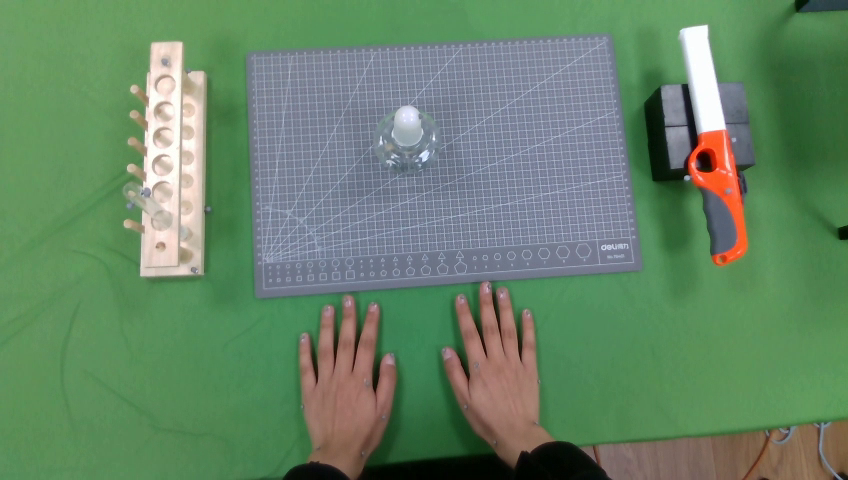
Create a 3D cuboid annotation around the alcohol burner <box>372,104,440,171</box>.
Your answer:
[{"bbox_3d":[-0.020,-0.118,0.666,0.078,0.119,0.077,0,82,-2],"label":"alcohol burner"}]

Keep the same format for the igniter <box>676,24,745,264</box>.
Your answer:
[{"bbox_3d":[0.321,-0.110,0.681,0.057,0.025,0.275,-6,81,8],"label":"igniter"}]

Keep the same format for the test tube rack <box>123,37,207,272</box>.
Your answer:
[{"bbox_3d":[-0.287,-0.090,0.666,0.067,0.085,0.241,-2,81,-3],"label":"test tube rack"}]

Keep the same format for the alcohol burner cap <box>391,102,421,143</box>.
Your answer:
[{"bbox_3d":[-0.018,-0.126,0.631,0.034,0.048,0.033,1,74,-3],"label":"alcohol burner cap"}]

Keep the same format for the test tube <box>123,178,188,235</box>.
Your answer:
[{"bbox_3d":[-0.265,-0.030,0.608,0.017,0.151,0.017,1,76,-4],"label":"test tube"}]
